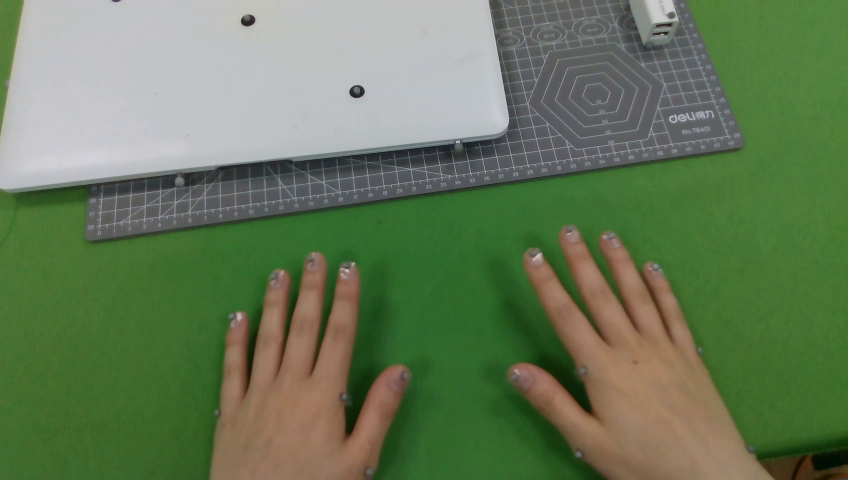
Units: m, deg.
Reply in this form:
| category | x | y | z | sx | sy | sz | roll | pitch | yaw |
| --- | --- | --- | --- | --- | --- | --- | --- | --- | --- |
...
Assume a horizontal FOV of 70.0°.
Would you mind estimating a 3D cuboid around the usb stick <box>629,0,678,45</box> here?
| category | x | y | z | sx | sy | sz | roll | pitch | yaw |
| --- | --- | --- | --- | --- | --- | --- | --- | --- | --- |
| usb stick | 0.168 | -0.177 | 0.451 | 0.021 | 0.027 | 0.058 | -7 | 64 | 0 |

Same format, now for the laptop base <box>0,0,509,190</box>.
| category | x | y | z | sx | sy | sz | roll | pitch | yaw |
| --- | --- | --- | --- | --- | --- | --- | --- | --- | --- |
| laptop base | -0.127 | -0.157 | 0.459 | 0.354 | 0.023 | 0.234 | -6 | 70 | -1 |

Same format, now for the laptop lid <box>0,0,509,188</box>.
| category | x | y | z | sx | sy | sz | roll | pitch | yaw |
| --- | --- | --- | --- | --- | --- | --- | --- | --- | --- |
| laptop lid | -0.127 | -0.160 | 0.447 | 0.357 | 0.013 | 0.240 | -5 | 69 | 0 |
